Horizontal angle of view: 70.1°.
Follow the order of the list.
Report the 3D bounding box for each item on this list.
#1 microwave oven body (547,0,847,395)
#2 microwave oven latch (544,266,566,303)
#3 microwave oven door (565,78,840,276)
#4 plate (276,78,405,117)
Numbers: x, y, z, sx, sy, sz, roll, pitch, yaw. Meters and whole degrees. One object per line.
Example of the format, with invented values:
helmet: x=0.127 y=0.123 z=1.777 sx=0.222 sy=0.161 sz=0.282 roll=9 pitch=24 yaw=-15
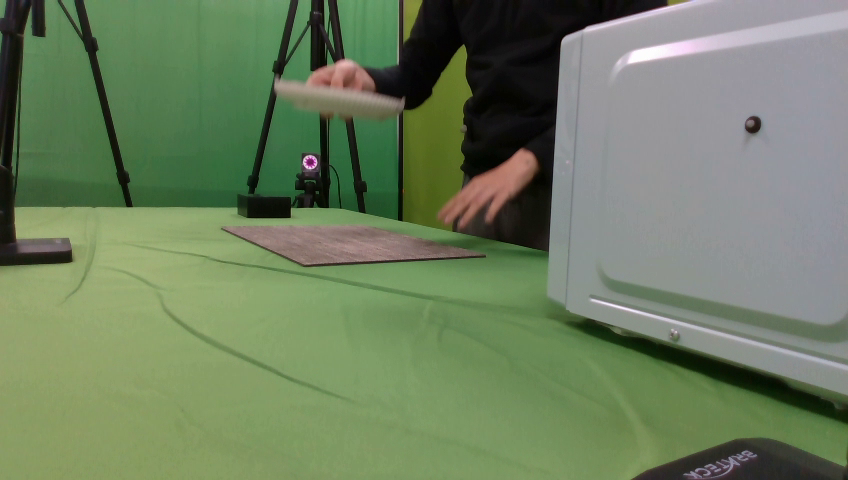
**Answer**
microwave oven body: x=0.378 y=-0.046 z=0.510 sx=0.444 sy=0.260 sz=0.324 roll=-2 pitch=7 yaw=-31
microwave oven latch: x=0.147 y=0.039 z=0.555 sx=0.079 sy=0.029 sz=0.030 roll=-1 pitch=7 yaw=-28
microwave oven door: x=0.368 y=-0.093 z=0.859 sx=0.354 sy=0.243 sz=0.039 roll=8 pitch=9 yaw=44
plate: x=-0.136 y=-0.229 z=0.983 sx=0.209 sy=0.038 sz=0.209 roll=8 pitch=11 yaw=-1
